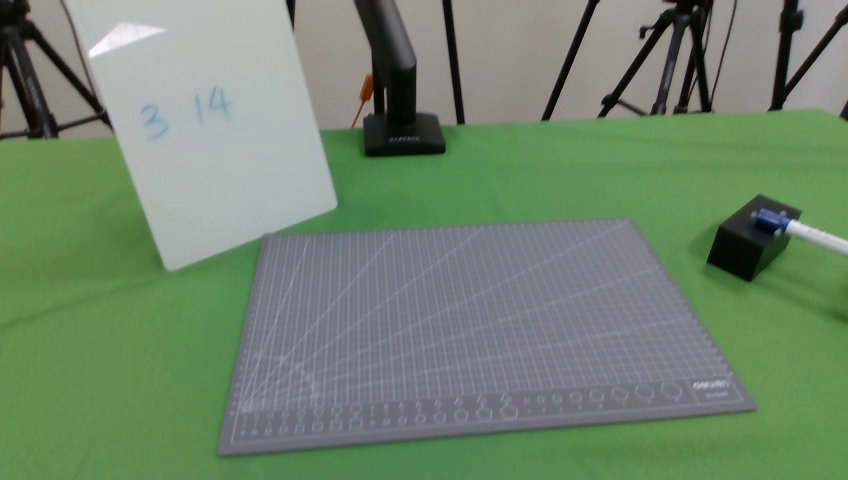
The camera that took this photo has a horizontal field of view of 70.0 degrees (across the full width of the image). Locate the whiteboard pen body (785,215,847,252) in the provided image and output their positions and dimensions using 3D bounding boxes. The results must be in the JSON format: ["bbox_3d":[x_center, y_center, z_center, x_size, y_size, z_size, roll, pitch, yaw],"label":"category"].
[{"bbox_3d":[0.418,-0.002,0.619,0.139,0.017,0.017,30,45,33],"label":"whiteboard pen body"}]

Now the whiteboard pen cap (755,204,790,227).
[{"bbox_3d":[0.375,-0.025,0.650,0.033,0.018,0.018,31,45,31],"label":"whiteboard pen cap"}]

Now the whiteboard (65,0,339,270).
[{"bbox_3d":[-0.261,-0.157,0.711,0.217,0.307,0.142,-25,24,-30],"label":"whiteboard"}]
